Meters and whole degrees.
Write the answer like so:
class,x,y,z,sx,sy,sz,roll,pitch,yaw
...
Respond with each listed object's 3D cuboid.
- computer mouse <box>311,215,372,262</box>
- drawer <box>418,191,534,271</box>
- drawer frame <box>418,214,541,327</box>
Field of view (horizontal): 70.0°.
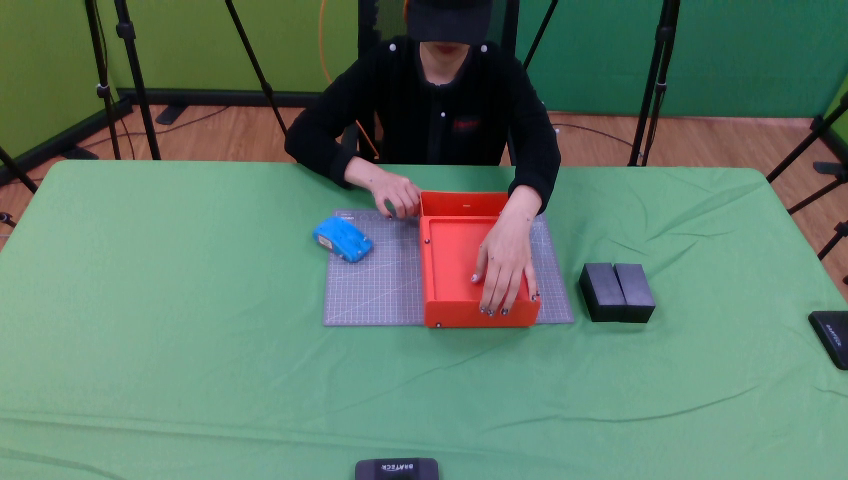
class,x,y,z,sx,sy,sz,roll,pitch,yaw
computer mouse,-0.160,-0.007,1.178,0.117,0.041,0.062,32,50,19
drawer,0.092,0.001,1.160,0.195,0.073,0.210,1,47,-7
drawer frame,0.094,0.051,1.111,0.202,0.083,0.212,0,47,-5
